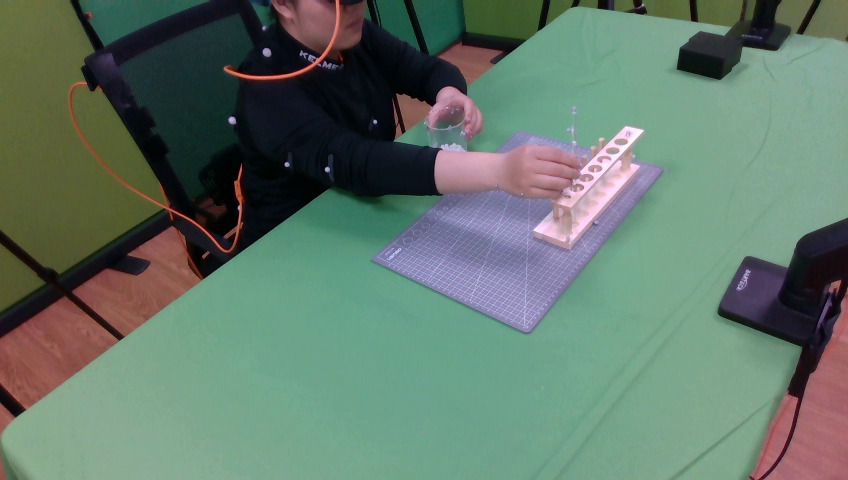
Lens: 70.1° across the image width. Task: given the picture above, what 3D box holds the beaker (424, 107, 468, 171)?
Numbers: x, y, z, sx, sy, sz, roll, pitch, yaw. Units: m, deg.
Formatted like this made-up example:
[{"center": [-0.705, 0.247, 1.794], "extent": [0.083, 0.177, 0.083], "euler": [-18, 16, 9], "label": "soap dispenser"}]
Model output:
[{"center": [0.045, -0.186, 1.118], "extent": [0.073, 0.101, 0.084], "euler": [10, 47, 19], "label": "beaker"}]

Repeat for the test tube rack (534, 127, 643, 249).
[{"center": [0.272, -0.094, 0.990], "extent": [0.066, 0.085, 0.243], "euler": [23, 50, 33], "label": "test tube rack"}]

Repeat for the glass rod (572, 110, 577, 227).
[{"center": [0.224, -0.101, 0.902], "extent": [0.008, 0.200, 0.008], "euler": [-7, 36, 5], "label": "glass rod"}]
